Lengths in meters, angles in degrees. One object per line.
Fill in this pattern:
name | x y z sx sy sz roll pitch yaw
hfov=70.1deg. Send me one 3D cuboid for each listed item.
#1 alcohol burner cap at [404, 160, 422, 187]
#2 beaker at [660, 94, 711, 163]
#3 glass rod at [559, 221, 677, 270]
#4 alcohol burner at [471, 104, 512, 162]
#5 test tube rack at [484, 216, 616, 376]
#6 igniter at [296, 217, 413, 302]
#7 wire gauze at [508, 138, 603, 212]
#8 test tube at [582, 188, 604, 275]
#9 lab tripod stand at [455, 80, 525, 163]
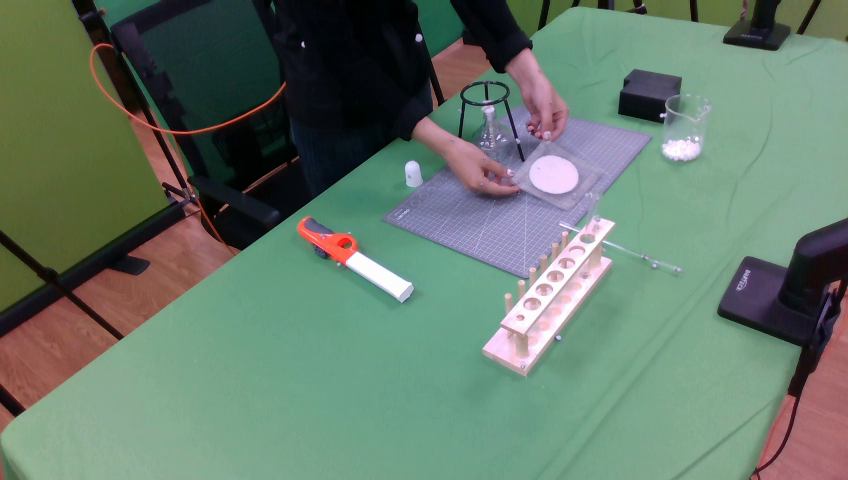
alcohol burner cap | -0.022 -0.125 1.118 0.034 0.048 0.033 -5 41 5
beaker | 0.457 -0.192 1.063 0.074 0.101 0.083 -7 41 4
glass rod | 0.292 0.007 0.927 0.198 0.008 0.008 26 52 36
alcohol burner | 0.125 -0.207 1.126 0.078 0.119 0.077 -5 43 5
test tube rack | 0.174 0.064 0.823 0.066 0.085 0.243 23 49 32
igniter | -0.121 0.025 0.970 0.274 0.025 0.057 29 63 37
wire gauze | 0.230 -0.114 1.053 0.121 0.011 0.125 34 61 18
test tube | 0.228 -0.007 0.821 0.017 0.151 0.017 -3 42 3
lab tripod stand | 0.121 -0.219 1.126 0.148 0.132 0.147 -4 39 4
